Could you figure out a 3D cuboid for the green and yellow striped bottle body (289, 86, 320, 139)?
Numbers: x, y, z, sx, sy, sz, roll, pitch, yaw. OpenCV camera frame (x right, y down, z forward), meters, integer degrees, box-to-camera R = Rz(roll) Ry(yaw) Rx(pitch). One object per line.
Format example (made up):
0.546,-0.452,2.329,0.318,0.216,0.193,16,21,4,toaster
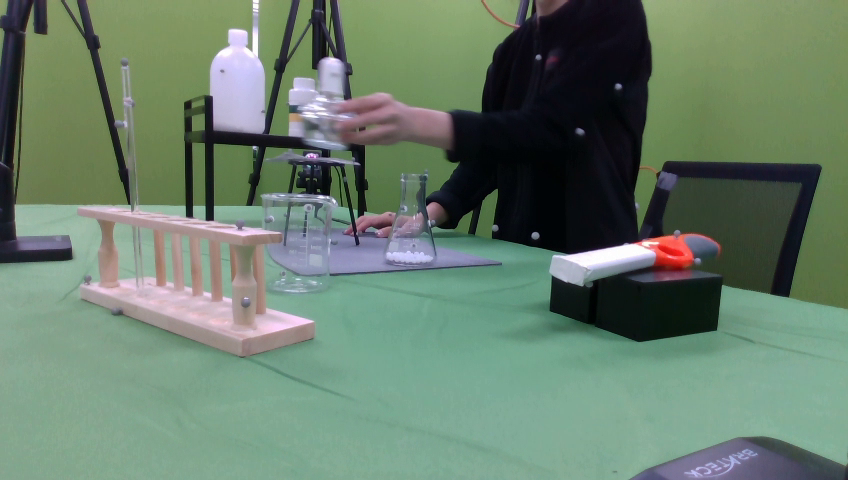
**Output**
-0.250,-0.272,1.261,0.063,0.119,0.063,3,7,0,green and yellow striped bottle body

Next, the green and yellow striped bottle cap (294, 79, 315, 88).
-0.248,-0.323,1.256,0.045,0.020,0.045,3,9,0,green and yellow striped bottle cap

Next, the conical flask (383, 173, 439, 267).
-0.016,-0.028,0.808,0.075,0.122,0.075,2,8,0,conical flask

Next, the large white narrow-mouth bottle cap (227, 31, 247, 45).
-0.361,-0.388,1.165,0.038,0.024,0.037,1,7,0,large white narrow-mouth bottle cap

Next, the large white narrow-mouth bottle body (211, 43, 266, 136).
-0.361,-0.302,1.176,0.102,0.194,0.102,1,7,0,large white narrow-mouth bottle body

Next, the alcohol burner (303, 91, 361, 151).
-0.121,-0.181,0.812,0.078,0.119,0.078,8,12,-1,alcohol burner

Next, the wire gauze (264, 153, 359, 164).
-0.181,-0.129,0.969,0.126,0.011,0.121,-1,6,-27,wire gauze

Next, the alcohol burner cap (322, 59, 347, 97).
-0.117,-0.216,0.803,0.034,0.048,0.034,4,6,0,alcohol burner cap

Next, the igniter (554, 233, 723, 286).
0.214,0.015,0.570,0.278,0.025,0.057,-5,22,-44,igniter

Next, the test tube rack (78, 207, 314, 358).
-0.197,0.024,0.499,0.241,0.085,0.067,8,8,37,test tube rack

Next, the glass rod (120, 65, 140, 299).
-0.249,-0.047,0.513,0.008,0.199,0.008,-1,4,0,glass rod

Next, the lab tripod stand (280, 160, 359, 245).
-0.176,-0.062,0.973,0.148,0.131,0.148,1,7,0,lab tripod stand

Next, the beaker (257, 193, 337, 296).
-0.130,0.003,0.628,0.084,0.100,0.074,5,8,15,beaker
